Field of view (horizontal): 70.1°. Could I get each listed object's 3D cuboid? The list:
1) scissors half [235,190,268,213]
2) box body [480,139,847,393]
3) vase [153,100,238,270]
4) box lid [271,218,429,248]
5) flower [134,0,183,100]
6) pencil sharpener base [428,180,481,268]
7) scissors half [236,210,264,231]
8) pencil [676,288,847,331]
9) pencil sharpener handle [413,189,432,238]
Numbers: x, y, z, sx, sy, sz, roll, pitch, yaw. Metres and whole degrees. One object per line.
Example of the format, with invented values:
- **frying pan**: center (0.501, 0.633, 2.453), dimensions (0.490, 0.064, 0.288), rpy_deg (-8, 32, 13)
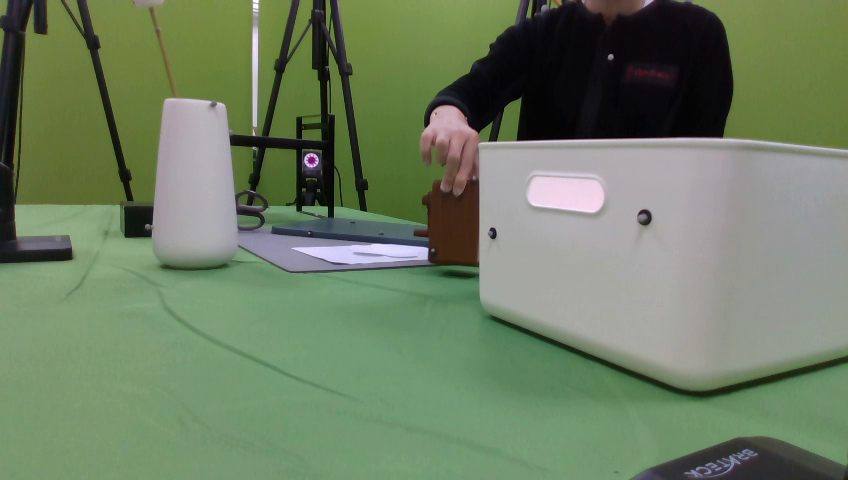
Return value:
- **scissors half**: center (-0.363, -0.070, 1.060), dimensions (0.176, 0.040, 0.013), rpy_deg (0, 16, -23)
- **box body**: center (0.255, 0.001, 0.541), dimensions (0.366, 0.160, 0.253), rpy_deg (-2, 9, -31)
- **vase**: center (-0.278, -0.066, 0.736), dimensions (0.098, 0.200, 0.098), rpy_deg (2, 9, 0)
- **box lid**: center (-0.072, -0.014, 1.141), dimensions (0.371, 0.015, 0.264), rpy_deg (5, 7, 16)
- **flower**: center (-0.282, -0.147, 0.713), dimensions (0.038, 0.362, 0.044), rpy_deg (-23, 24, -31)
- **pencil sharpener base**: center (0.047, -0.021, 0.766), dimensions (0.076, 0.107, 0.061), rpy_deg (4, 1, 23)
- **scissors half**: center (-0.369, -0.051, 1.065), dimensions (0.176, 0.040, 0.012), rpy_deg (19, 14, -27)
- **pencil**: center (0.332, 0.066, 0.609), dimensions (0.012, 0.012, 0.193), rpy_deg (-1, 6, -26)
- **pencil sharpener handle**: center (0.001, -0.036, 0.787), dimensions (0.030, 0.067, 0.036), rpy_deg (4, 7, 23)
